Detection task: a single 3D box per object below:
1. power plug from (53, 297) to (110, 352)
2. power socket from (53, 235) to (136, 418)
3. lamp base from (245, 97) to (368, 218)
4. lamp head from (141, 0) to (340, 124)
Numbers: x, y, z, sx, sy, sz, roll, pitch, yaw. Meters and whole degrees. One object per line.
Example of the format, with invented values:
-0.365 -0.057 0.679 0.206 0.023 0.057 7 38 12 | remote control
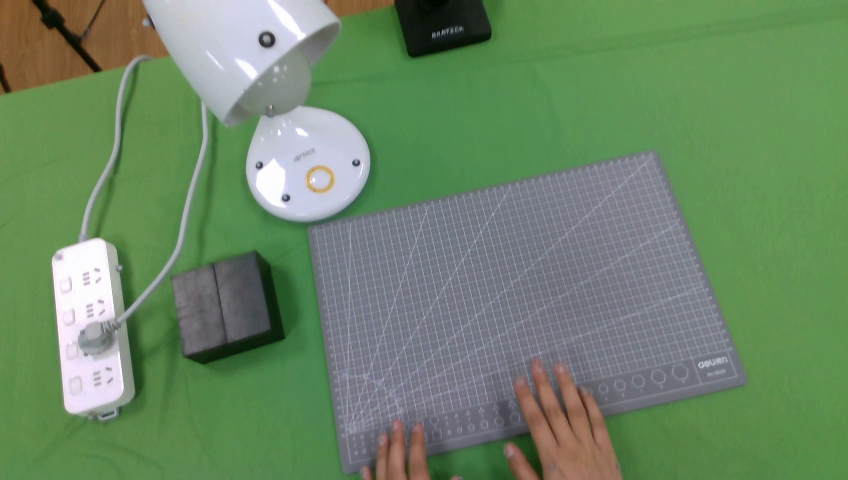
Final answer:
-0.390 0.097 0.699 0.035 0.053 0.072 -28 63 -21 | power plug
-0.394 0.097 0.723 0.072 0.033 0.225 -17 69 -3 | power socket
-0.166 -0.138 0.713 0.160 0.181 0.178 -40 69 -10 | lamp base
-0.137 -0.160 0.421 0.112 0.112 0.123 -43 96 -11 | lamp head
